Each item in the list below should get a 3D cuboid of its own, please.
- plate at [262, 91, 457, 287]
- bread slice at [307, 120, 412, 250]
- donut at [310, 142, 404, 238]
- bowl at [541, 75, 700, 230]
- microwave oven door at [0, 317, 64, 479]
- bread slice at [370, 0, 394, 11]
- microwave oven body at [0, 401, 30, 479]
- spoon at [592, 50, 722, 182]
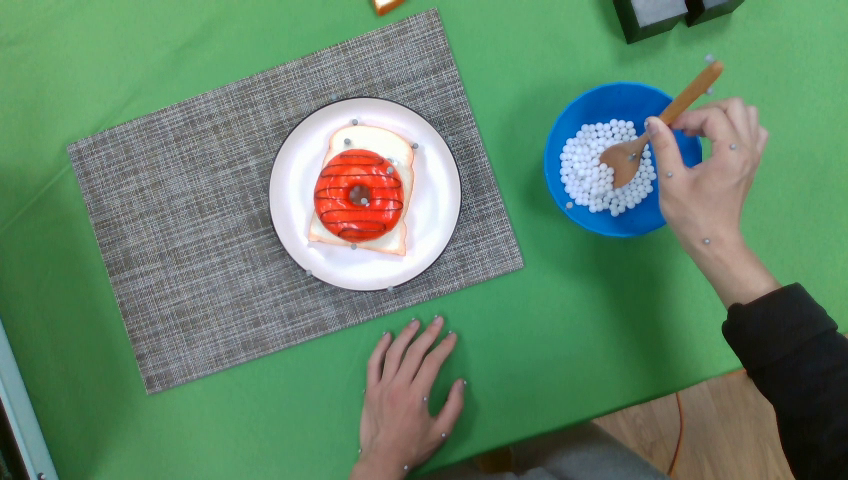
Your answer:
[{"bbox_3d":[-0.067,-0.053,0.654,0.207,0.039,0.207,0,91,4],"label":"plate"},{"bbox_3d":[-0.067,-0.061,0.654,0.107,0.018,0.134,6,91,3],"label":"bread slice"},{"bbox_3d":[-0.069,-0.052,0.626,0.099,0.048,0.099,0,91,5],"label":"donut"},{"bbox_3d":[0.191,-0.084,0.620,0.151,0.077,0.151,0,90,3],"label":"bowl"},{"bbox_3d":[-0.484,0.138,0.568,0.039,0.244,0.355,-22,89,4],"label":"microwave oven door"},{"bbox_3d":[-0.045,-0.334,0.663,0.105,0.019,0.131,-34,90,3],"label":"bread slice"},{"bbox_3d":[-0.635,0.152,0.583,0.326,0.260,0.441,-21,90,3],"label":"microwave oven body"},{"bbox_3d":[0.204,-0.104,0.546,0.021,0.194,0.041,-35,80,-19],"label":"spoon"}]
